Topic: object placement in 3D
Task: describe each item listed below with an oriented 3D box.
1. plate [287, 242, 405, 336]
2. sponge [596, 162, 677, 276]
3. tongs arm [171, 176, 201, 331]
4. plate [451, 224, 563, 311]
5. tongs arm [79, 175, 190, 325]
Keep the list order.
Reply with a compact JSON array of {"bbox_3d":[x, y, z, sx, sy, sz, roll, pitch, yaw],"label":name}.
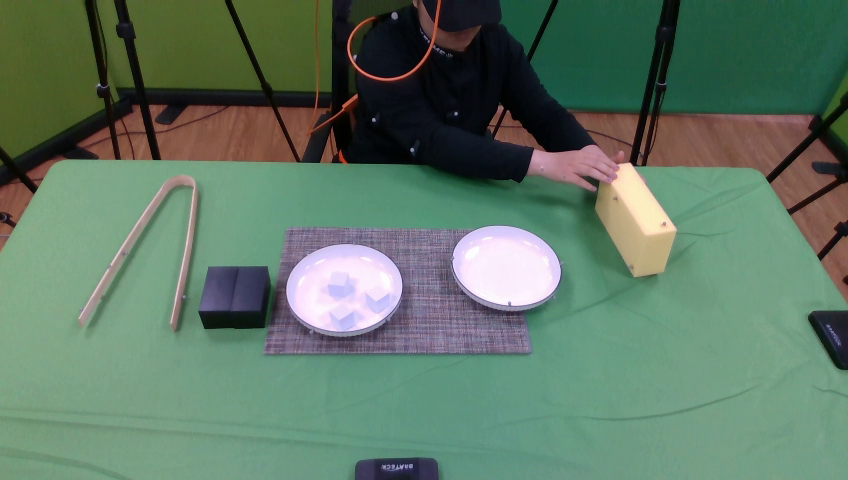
[{"bbox_3d":[-0.138,0.090,1.084,0.208,0.039,0.206,2,46,-2],"label":"plate"},{"bbox_3d":[0.412,-0.044,1.194,0.061,0.119,0.205,-11,44,-4],"label":"sponge"},{"bbox_3d":[-0.453,0.010,1.151,0.028,0.028,0.385,-6,47,-6],"label":"tongs arm"},{"bbox_3d":[0.153,0.054,1.140,0.209,0.038,0.208,2,46,-2],"label":"plate"},{"bbox_3d":[-0.534,0.005,1.145,0.051,0.026,0.382,6,45,0],"label":"tongs arm"}]
